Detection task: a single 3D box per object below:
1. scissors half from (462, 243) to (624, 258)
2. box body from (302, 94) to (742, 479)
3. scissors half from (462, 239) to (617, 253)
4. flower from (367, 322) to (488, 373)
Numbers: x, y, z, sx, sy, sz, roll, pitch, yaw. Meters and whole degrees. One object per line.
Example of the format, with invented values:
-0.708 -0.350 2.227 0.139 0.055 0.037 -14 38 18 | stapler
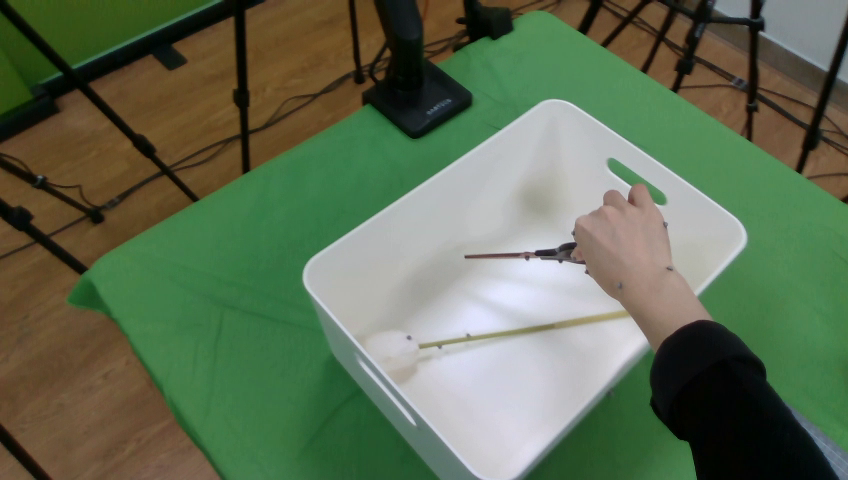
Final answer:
0.125 0.012 0.655 0.174 0.040 0.013 0 77 20 | scissors half
0.097 0.048 0.625 0.364 0.162 0.252 -37 64 -23 | box body
0.115 0.008 0.637 0.174 0.040 0.012 -5 80 37 | scissors half
0.097 0.089 0.701 0.363 0.044 0.038 -10 29 -33 | flower
